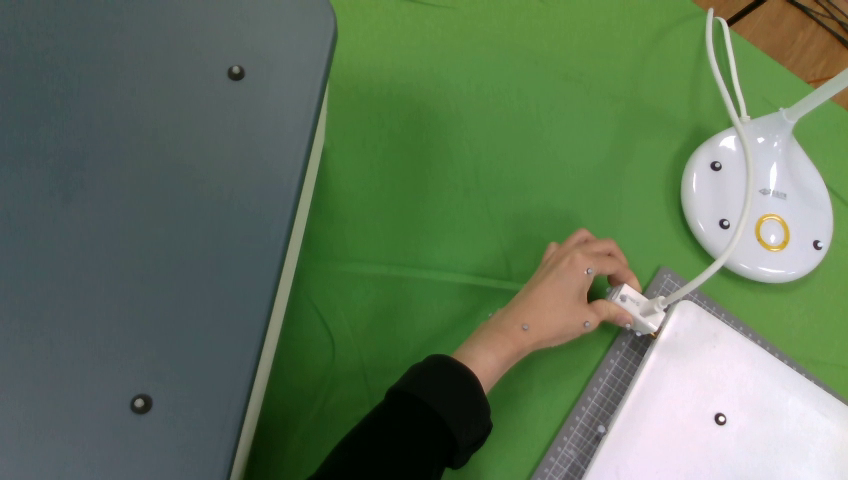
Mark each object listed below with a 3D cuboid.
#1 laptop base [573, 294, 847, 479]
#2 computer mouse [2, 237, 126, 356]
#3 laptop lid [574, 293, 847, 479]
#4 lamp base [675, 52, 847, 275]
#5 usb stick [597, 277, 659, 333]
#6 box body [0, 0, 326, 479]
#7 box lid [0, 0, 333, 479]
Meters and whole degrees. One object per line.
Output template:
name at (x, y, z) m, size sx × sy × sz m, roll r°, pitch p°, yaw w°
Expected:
laptop base at (0.303, 0.233, 0.503) m, size 0.354 × 0.023 × 0.235 m, roll 34°, pitch 73°, yaw 3°
computer mouse at (-0.264, 0.033, 0.448) m, size 0.063 × 0.041 × 0.116 m, roll -16°, pitch 35°, yaw -5°
laptop lid at (0.304, 0.231, 0.491) m, size 0.356 × 0.013 × 0.241 m, roll 36°, pitch 72°, yaw 3°
lamp base at (0.334, -0.079, 0.529) m, size 0.161 × 0.181 × 0.178 m, roll 0°, pitch 68°, yaw -10°
usb stick at (0.181, 0.059, 0.525) m, size 0.059 × 0.027 × 0.021 m, roll 39°, pitch 67°, yaw -7°
box body at (-0.223, 0.003, 0.412) m, size 0.255 × 0.161 × 0.361 m, roll 11°, pitch 70°, yaw -6°
box lid at (-0.211, -0.023, 0.345) m, size 0.264 × 0.015 × 0.369 m, roll 10°, pitch 71°, yaw -6°
